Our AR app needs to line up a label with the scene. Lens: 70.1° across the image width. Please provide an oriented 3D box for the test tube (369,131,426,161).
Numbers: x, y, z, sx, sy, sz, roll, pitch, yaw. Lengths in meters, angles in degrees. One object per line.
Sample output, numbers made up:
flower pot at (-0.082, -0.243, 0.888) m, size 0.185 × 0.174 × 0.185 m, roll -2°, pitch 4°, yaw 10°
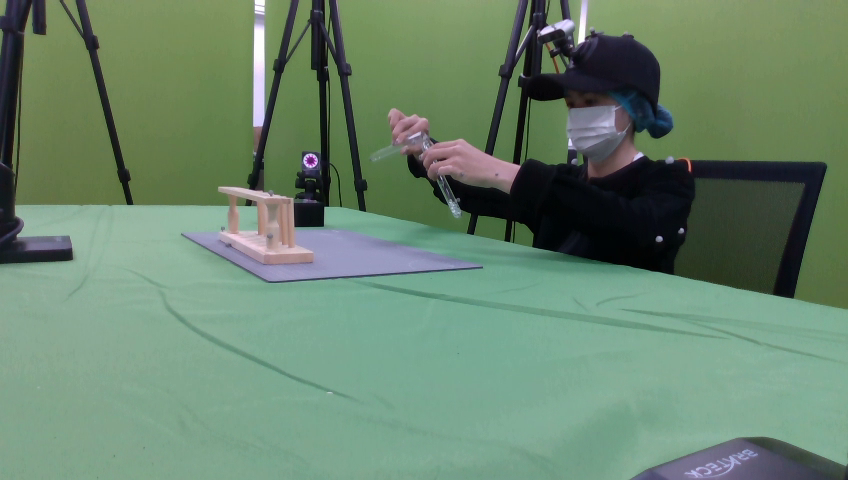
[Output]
test tube at (-0.051, -0.169, 1.093) m, size 0.017 × 0.017 × 0.149 m, roll -4°, pitch -7°, yaw -44°

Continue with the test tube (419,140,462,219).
test tube at (0.027, -0.102, 1.009) m, size 0.017 × 0.150 × 0.017 m, roll -22°, pitch -16°, yaw -6°

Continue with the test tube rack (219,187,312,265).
test tube rack at (-0.235, -0.027, 0.872) m, size 0.067 × 0.085 × 0.241 m, roll -2°, pitch 8°, yaw -31°
